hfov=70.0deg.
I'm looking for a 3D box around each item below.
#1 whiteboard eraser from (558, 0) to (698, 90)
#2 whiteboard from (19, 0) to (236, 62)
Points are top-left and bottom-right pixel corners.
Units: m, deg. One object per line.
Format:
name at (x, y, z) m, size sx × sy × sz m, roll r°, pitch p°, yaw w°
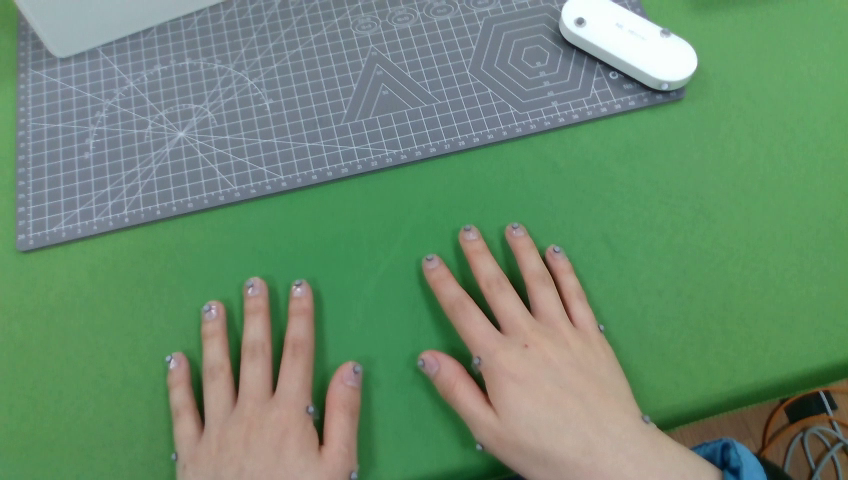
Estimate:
whiteboard eraser at (0.141, -0.139, 0.422) m, size 0.101 × 0.019 × 0.041 m, roll 36°, pitch 72°, yaw 15°
whiteboard at (-0.212, -0.314, 0.379) m, size 0.217 × 0.308 × 0.142 m, roll -23°, pitch 49°, yaw -8°
